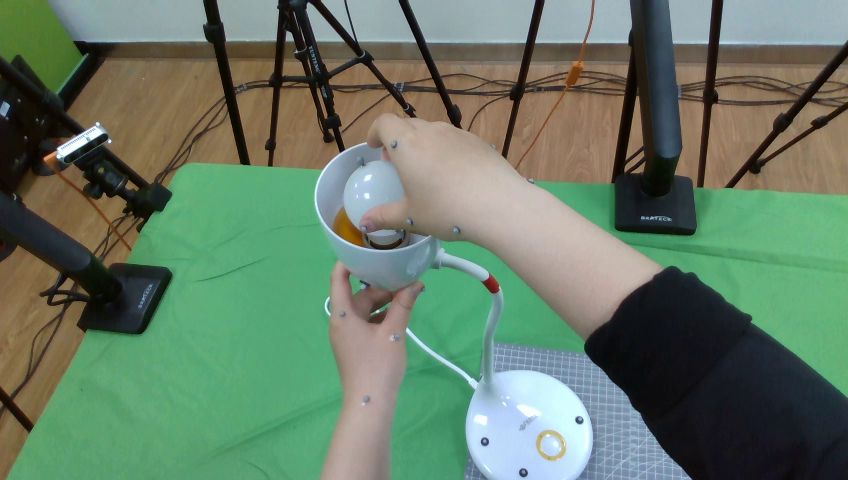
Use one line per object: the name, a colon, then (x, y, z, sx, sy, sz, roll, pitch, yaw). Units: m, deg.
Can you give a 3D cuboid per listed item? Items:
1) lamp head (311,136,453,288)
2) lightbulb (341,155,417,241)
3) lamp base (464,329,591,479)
lamp head: (-0.029, -0.010, 0.524, 0.112, 0.124, 0.111, -2, 57, 4)
lightbulb: (-0.037, -0.026, 0.499, 0.059, 0.108, 0.059, 1, 64, -3)
lamp base: (0.112, 0.185, 0.721, 0.177, 0.182, 0.160, 28, 62, 29)
